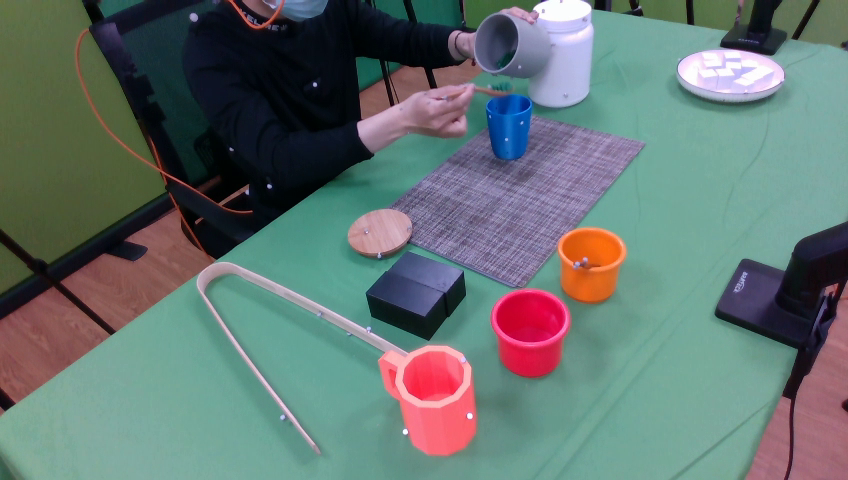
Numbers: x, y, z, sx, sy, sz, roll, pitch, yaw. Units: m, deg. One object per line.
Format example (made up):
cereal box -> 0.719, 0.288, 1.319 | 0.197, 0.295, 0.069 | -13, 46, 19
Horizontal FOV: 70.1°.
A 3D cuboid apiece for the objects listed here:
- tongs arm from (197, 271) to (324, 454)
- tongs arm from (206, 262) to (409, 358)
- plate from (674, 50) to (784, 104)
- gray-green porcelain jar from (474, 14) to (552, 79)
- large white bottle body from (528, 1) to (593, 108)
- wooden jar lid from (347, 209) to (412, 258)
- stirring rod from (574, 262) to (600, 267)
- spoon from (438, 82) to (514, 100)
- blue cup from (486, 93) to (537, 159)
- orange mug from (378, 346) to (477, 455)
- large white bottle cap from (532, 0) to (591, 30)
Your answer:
tongs arm -> -0.236, 0.154, 0.831 | 0.028, 0.028, 0.384 | -37, 48, -17
tongs arm -> -0.179, 0.106, 0.870 | 0.382, 0.027, 0.051 | 23, 55, 32
plate -> 0.631, -0.336, 1.262 | 0.207, 0.039, 0.206 | -4, 41, 4
gray-green porcelain jar -> 0.173, -0.364, 1.150 | 0.105, 0.106, 0.127 | 30, 24, 36
large white bottle body -> 0.283, -0.386, 1.259 | 0.130, 0.185, 0.130 | -5, 41, 4
wooden jar lid -> -0.071, -0.010, 0.997 | 0.108, 0.021, 0.108 | -5, 44, 5
stirring rod -> 0.222, 0.033, 0.816 | 0.014, 0.006, 0.177 | 8, 1, 22
spoon -> 0.088, -0.253, 1.023 | 0.041, 0.021, 0.195 | 22, 27, 38
blue cup -> 0.160, -0.209, 1.129 | 0.092, 0.100, 0.092 | -4, 39, 4
orange mug -> 0.002, 0.179, 0.708 | 0.125, 0.101, 0.083 | 25, 50, 27
large white bottle cap -> 0.274, -0.450, 1.204 | 0.115, 0.018, 0.114 | -4, 41, 4
